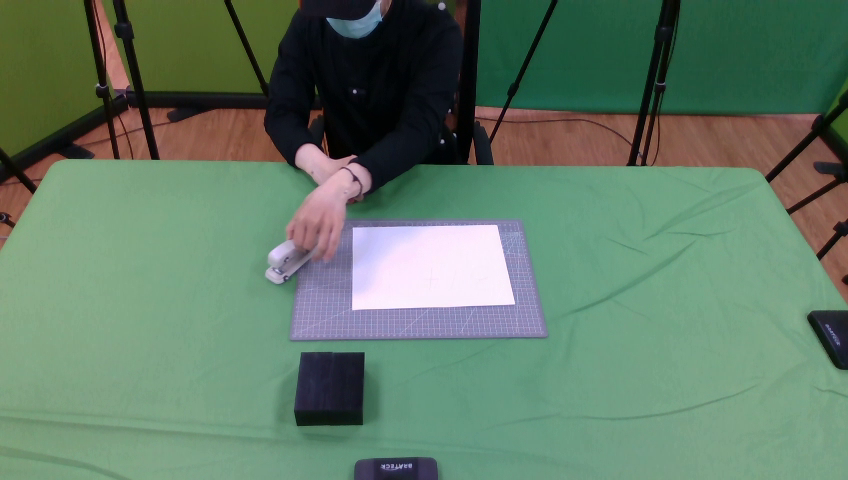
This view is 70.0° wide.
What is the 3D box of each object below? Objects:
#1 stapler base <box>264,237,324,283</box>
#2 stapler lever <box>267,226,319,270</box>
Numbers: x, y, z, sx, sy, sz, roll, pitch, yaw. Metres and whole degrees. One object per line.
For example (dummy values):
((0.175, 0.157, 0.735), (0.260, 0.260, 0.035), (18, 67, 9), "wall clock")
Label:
((-0.245, 0.027, 1.139), (0.041, 0.024, 0.130), (32, 54, 16), "stapler base")
((-0.243, 0.010, 1.121), (0.027, 0.040, 0.118), (32, 54, 17), "stapler lever")
